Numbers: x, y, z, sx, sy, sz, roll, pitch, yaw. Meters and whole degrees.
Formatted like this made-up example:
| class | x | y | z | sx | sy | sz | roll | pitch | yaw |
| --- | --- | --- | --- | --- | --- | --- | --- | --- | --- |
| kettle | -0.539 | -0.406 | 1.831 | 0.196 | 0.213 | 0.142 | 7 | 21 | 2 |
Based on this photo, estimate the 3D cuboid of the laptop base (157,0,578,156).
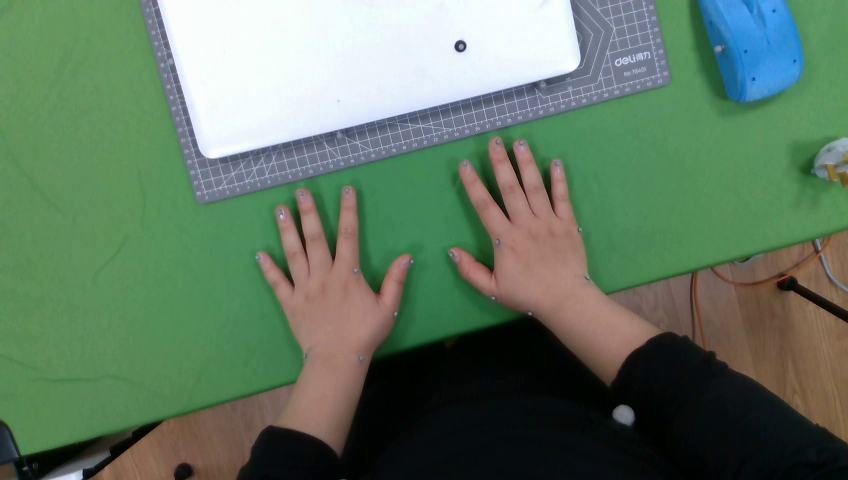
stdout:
| class | x | y | z | sx | sy | sz | roll | pitch | yaw |
| --- | --- | --- | --- | --- | --- | --- | --- | --- | --- |
| laptop base | -0.059 | -0.230 | 0.538 | 0.354 | 0.023 | 0.236 | -14 | 99 | 2 |

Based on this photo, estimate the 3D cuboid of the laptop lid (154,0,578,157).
| class | x | y | z | sx | sy | sz | roll | pitch | yaw |
| --- | --- | --- | --- | --- | --- | --- | --- | --- | --- |
| laptop lid | -0.059 | -0.226 | 0.527 | 0.357 | 0.013 | 0.242 | -12 | 98 | 2 |

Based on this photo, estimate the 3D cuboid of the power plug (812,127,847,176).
| class | x | y | z | sx | sy | sz | roll | pitch | yaw |
| --- | --- | --- | --- | --- | --- | --- | --- | --- | --- |
| power plug | 0.383 | -0.078 | 0.532 | 0.072 | 0.052 | 0.035 | 2 | 140 | 15 |

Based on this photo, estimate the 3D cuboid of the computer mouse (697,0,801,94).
| class | x | y | z | sx | sy | sz | roll | pitch | yaw |
| --- | --- | --- | --- | --- | --- | --- | --- | --- | --- |
| computer mouse | 0.284 | -0.190 | 0.530 | 0.063 | 0.041 | 0.117 | -19 | 92 | 5 |
